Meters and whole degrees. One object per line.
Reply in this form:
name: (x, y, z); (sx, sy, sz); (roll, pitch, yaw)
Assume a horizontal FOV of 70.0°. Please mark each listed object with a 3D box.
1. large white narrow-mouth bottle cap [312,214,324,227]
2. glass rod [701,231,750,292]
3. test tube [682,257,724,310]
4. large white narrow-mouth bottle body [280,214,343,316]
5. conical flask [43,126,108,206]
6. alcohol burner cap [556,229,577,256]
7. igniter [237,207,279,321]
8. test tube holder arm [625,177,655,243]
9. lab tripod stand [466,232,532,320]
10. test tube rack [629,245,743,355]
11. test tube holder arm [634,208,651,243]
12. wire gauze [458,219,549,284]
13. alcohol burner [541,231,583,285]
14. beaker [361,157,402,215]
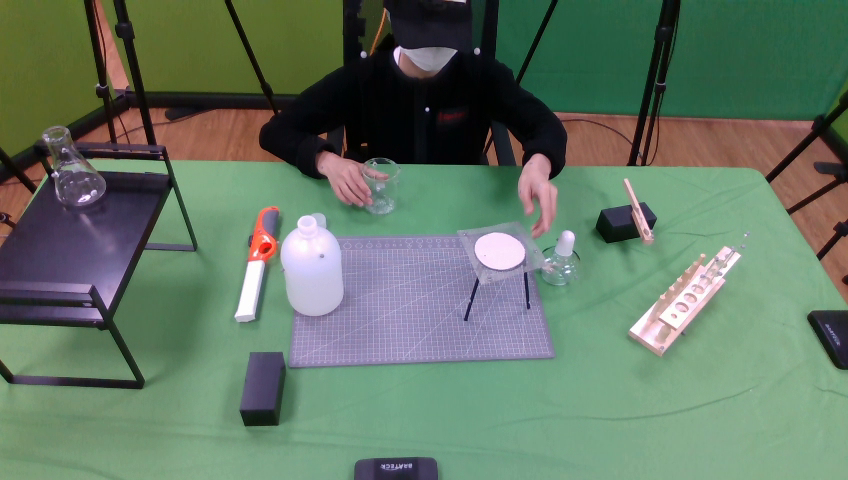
large white narrow-mouth bottle cap: (-0.219, -0.033, 1.214); (0.038, 0.024, 0.037); (2, 46, -2)
glass rod: (0.519, 0.045, 1.050); (0.008, 0.201, 0.008); (0, 55, 0)
test tube: (0.475, 0.080, 1.037); (0.017, 0.151, 0.017); (2, 51, -2)
large white narrow-mouth bottle body: (-0.190, 0.035, 1.025); (0.102, 0.195, 0.101); (2, 46, -2)
conical flask: (-0.555, -0.119, 0.953); (0.075, 0.122, 0.075); (2, 46, -2)
alcohol burner cap: (0.260, 0.002, 1.098); (0.034, 0.048, 0.033); (3, 40, -2)
igniter: (-0.309, 0.036, 1.137); (0.057, 0.025, 0.274); (-7, 46, 5)
test tube holder arm: (0.433, -0.062, 1.220); (0.013, 0.015, 0.177); (1, 47, -3)
lab tripod stand: (0.125, 0.060, 1.065); (0.148, 0.132, 0.147); (1, 45, 0)
test tube rack: (0.474, 0.095, 1.091); (0.242, 0.085, 0.066); (-34, 56, -31)
test tube holder arm: (0.428, -0.030, 1.189); (0.010, 0.015, 0.087); (1, 47, -2)
wire gauze: (0.131, 0.014, 1.016); (0.121, 0.011, 0.124); (-12, 47, -14)
alcohol burner: (0.258, 0.028, 1.123); (0.078, 0.120, 0.077); (1, 47, -1)
beaker: (-0.087, -0.108, 1.241); (0.084, 0.101, 0.073); (-8, 48, -12)
